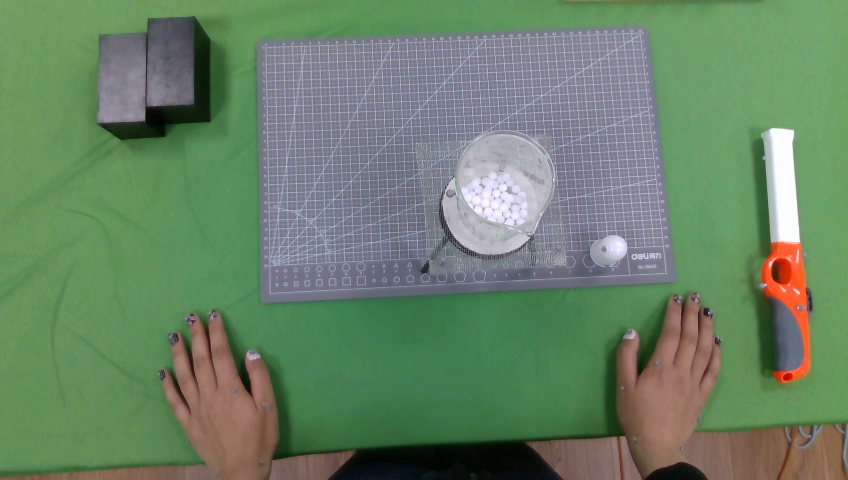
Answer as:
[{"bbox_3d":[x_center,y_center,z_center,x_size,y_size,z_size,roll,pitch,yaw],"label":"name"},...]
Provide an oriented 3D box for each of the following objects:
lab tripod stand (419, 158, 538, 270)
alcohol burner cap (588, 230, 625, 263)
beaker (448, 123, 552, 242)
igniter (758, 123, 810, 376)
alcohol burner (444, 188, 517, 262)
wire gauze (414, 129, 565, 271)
[{"bbox_3d":[0.054,-0.023,0.600,0.148,0.132,0.148,0,81,1],"label":"lab tripod stand"},{"bbox_3d":[0.196,0.006,0.645,0.034,0.048,0.033,0,80,1],"label":"alcohol burner cap"},{"bbox_3d":[0.059,-0.038,0.487,0.074,0.100,0.083,-26,81,-4],"label":"beaker"},{"bbox_3d":[0.389,0.007,0.659,0.057,0.025,0.275,3,82,-11],"label":"igniter"},{"bbox_3d":[0.058,-0.018,0.610,0.078,0.119,0.077,0,80,-2],"label":"alcohol burner"},{"bbox_3d":[0.057,-0.037,0.536,0.125,0.011,0.121,-5,80,1],"label":"wire gauze"}]
